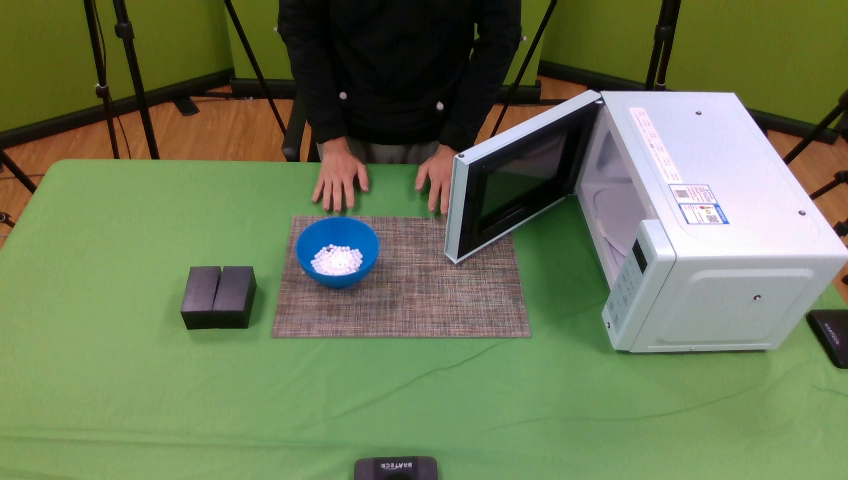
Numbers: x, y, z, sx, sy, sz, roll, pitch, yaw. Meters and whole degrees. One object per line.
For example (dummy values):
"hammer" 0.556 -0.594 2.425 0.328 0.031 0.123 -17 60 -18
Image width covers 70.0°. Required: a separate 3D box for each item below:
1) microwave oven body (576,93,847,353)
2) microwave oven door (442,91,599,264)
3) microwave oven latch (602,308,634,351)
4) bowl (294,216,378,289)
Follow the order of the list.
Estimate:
"microwave oven body" 0.475 -0.041 1.109 0.326 0.261 0.438 -1 45 -4
"microwave oven door" 0.187 -0.123 1.160 0.356 0.245 0.039 -29 55 -28
"microwave oven latch" 0.332 0.153 1.044 0.030 0.029 0.078 -1 45 -4
"bowl" -0.158 0.036 1.110 0.151 0.077 0.150 3 45 -2
